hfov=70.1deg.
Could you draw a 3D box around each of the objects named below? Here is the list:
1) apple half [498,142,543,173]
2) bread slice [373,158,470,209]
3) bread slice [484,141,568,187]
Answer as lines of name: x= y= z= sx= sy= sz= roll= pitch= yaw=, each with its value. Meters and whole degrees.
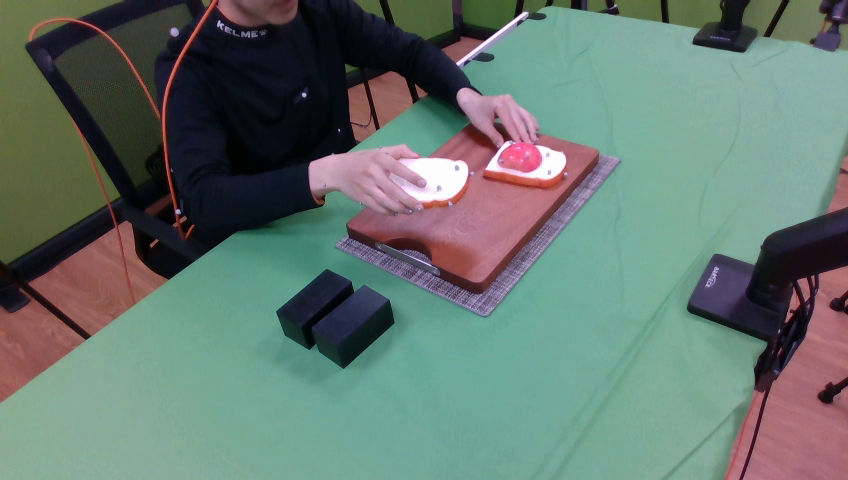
apple half: x=0.168 y=-0.152 z=1.046 sx=0.081 sy=0.033 sz=0.081 roll=-4 pitch=42 yaw=4
bread slice: x=0.001 y=-0.087 z=0.909 sx=0.134 sy=0.018 sz=0.107 roll=1 pitch=47 yaw=19
bread slice: x=0.185 y=-0.134 z=1.058 sx=0.131 sy=0.019 sz=0.105 roll=14 pitch=46 yaw=24
